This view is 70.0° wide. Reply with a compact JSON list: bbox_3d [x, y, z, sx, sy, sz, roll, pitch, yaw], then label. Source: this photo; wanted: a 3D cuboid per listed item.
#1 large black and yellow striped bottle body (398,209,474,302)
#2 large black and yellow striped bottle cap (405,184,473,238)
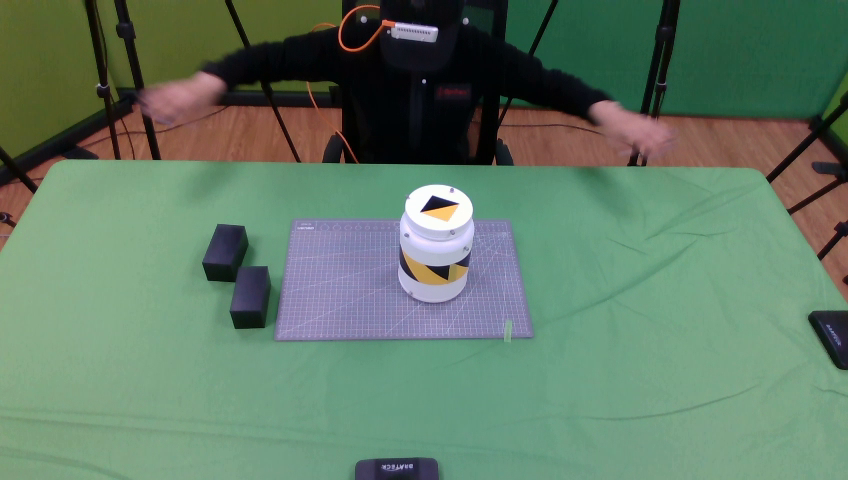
[{"bbox_3d":[0.020,0.008,1.074,0.131,0.185,0.130,2,46,-2],"label":"large black and yellow striped bottle body"},{"bbox_3d":[0.025,-0.051,1.014,0.115,0.019,0.114,2,48,-2],"label":"large black and yellow striped bottle cap"}]
